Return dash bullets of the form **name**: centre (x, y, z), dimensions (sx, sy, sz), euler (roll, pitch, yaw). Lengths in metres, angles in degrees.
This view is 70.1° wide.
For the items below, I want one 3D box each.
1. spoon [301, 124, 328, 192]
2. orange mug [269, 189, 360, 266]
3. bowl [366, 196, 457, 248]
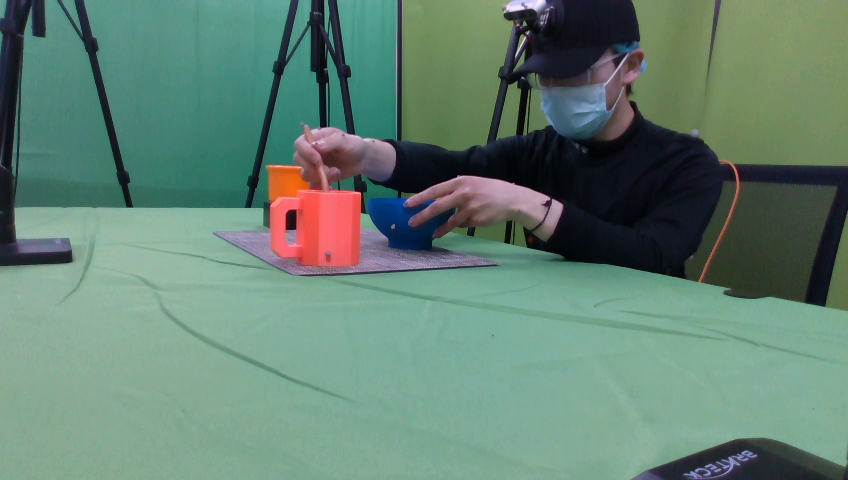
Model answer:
- **spoon**: centre (-0.139, -0.076, 0.825), dimensions (0.042, 0.193, 0.021), euler (1, -21, -42)
- **orange mug**: centre (-0.143, -0.019, 0.796), dimensions (0.127, 0.100, 0.083), euler (3, 5, -39)
- **bowl**: centre (-0.022, -0.030, 1.000), dimensions (0.151, 0.077, 0.151), euler (2, 7, 0)
